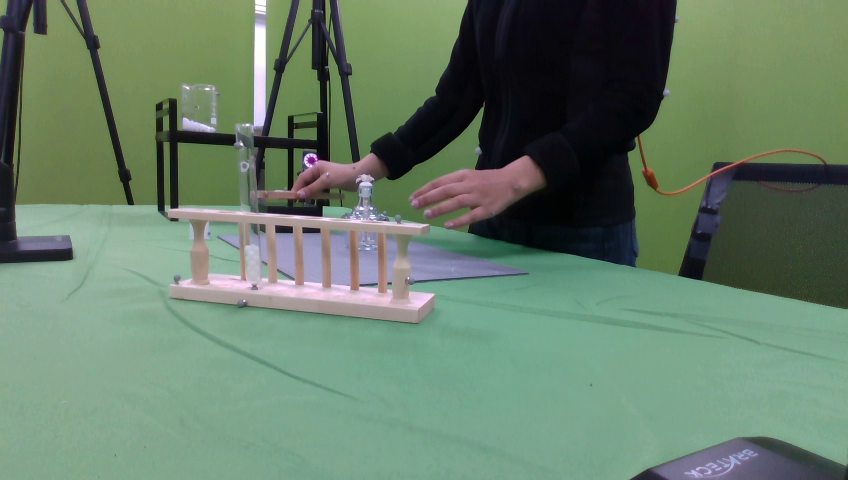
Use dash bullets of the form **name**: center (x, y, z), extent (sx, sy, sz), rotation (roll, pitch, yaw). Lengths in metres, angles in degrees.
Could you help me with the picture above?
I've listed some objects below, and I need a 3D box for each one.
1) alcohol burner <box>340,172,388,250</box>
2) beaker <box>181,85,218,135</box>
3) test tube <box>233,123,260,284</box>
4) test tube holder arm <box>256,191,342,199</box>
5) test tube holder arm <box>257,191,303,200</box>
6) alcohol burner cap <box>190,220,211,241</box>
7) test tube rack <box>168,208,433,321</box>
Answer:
- **alcohol burner**: center (-0.094, -0.045, 0.939), extent (0.078, 0.119, 0.078), rotation (1, 7, 0)
- **beaker**: center (-0.479, -0.276, 1.290), extent (0.074, 0.100, 0.084), rotation (2, 8, -1)
- **test tube**: center (-0.165, -0.032, 0.562), extent (0.017, 0.150, 0.017), rotation (-1, 8, 0)
- **test tube holder arm**: center (-0.238, -0.087, 1.171), extent (0.179, 0.015, 0.013), rotation (-4, 19, -40)
- **test tube holder arm**: center (-0.270, -0.083, 1.138), extent (0.088, 0.015, 0.010), rotation (-3, 19, -37)
- **alcohol burner cap**: center (-0.365, -0.023, 0.988), extent (0.034, 0.048, 0.034), rotation (2, 7, 0)
- **test tube rack**: center (-0.116, 0.017, 0.574), extent (0.242, 0.085, 0.067), rotation (4, 8, 13)
